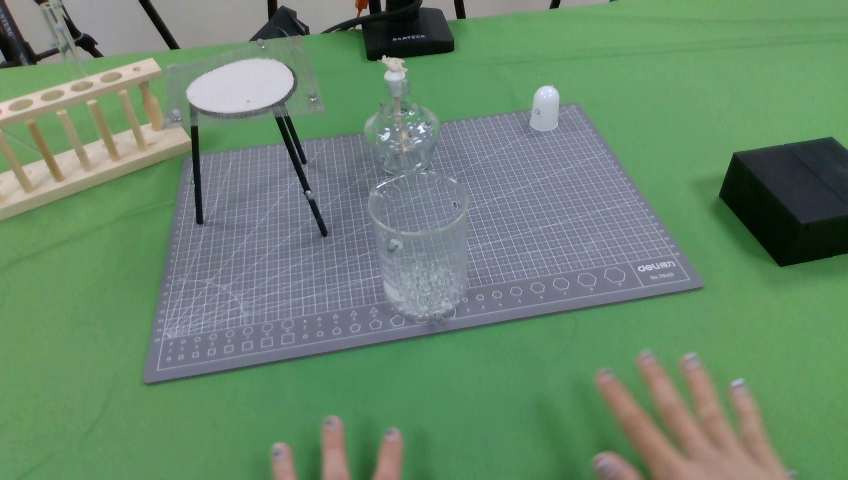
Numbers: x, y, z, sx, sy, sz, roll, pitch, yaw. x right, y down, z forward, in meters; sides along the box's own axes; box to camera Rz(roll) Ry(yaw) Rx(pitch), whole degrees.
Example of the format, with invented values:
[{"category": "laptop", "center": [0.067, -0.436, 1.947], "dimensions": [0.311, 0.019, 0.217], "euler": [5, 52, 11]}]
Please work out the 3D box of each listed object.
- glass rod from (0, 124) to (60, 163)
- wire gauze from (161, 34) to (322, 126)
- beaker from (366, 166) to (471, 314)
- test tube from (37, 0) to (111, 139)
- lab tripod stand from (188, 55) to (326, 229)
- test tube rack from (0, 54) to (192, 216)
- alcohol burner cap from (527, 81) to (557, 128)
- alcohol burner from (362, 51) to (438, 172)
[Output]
[{"category": "glass rod", "center": [-0.435, -0.127, 0.567], "dimensions": [0.008, 0.202, 0.008], "euler": [-15, 57, 24]}, {"category": "wire gauze", "center": [-0.155, -0.133, 0.503], "dimensions": [0.125, 0.011, 0.120], "euler": [-13, 45, -9]}, {"category": "beaker", "center": [-0.005, 0.003, 0.475], "dimensions": [0.083, 0.101, 0.074], "euler": [24, 50, 27]}, {"category": "test tube", "center": [-0.352, -0.169, 0.615], "dimensions": [0.017, 0.151, 0.017], "euler": [-1, 41, 1]}, {"category": "lab tripod stand", "center": [-0.152, -0.085, 0.550], "dimensions": [0.148, 0.133, 0.147], "euler": [-2, 46, 2]}, {"category": "test tube rack", "center": [-0.377, -0.104, 0.621], "dimensions": [0.242, 0.086, 0.066], "euler": [-26, 48, -22]}, {"category": "alcohol burner cap", "center": [0.131, -0.152, 0.668], "dimensions": [0.034, 0.048, 0.033], "euler": [-1, 44, 2]}, {"category": "alcohol burner", "center": [-0.026, -0.129, 0.602], "dimensions": [0.078, 0.120, 0.077], "euler": [-3, 43, 3]}]
